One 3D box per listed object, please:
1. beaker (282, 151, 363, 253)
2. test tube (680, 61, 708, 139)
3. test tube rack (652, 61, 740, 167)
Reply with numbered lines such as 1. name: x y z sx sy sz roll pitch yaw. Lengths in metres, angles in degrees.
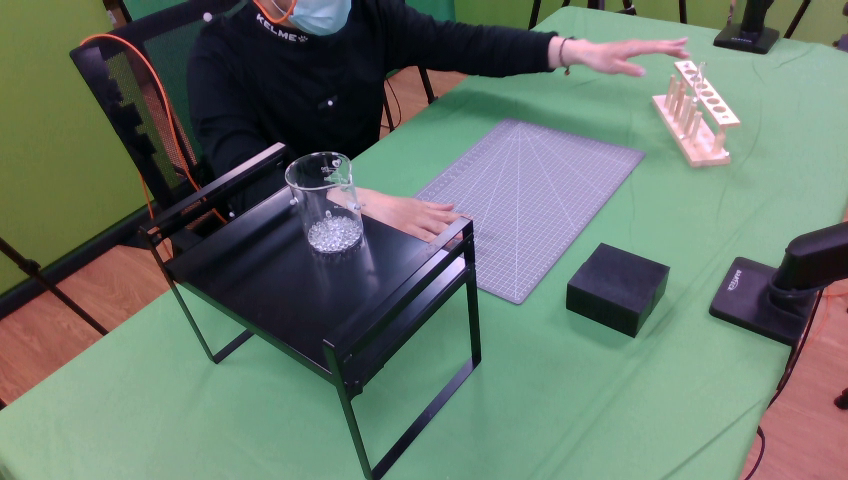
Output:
1. beaker: -0.110 -0.041 0.698 0.083 0.101 0.074 18 47 26
2. test tube: 0.476 -0.244 1.068 0.017 0.151 0.017 -3 42 3
3. test tube rack: 0.499 -0.242 1.130 0.067 0.085 0.241 -5 41 3
